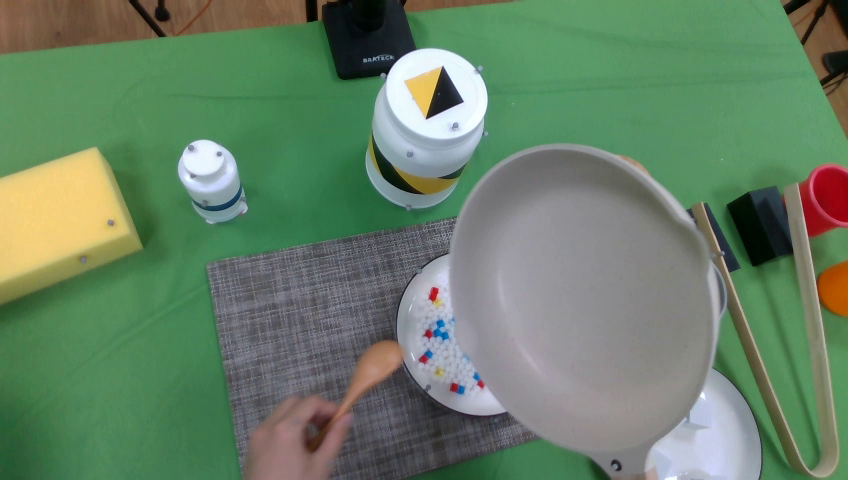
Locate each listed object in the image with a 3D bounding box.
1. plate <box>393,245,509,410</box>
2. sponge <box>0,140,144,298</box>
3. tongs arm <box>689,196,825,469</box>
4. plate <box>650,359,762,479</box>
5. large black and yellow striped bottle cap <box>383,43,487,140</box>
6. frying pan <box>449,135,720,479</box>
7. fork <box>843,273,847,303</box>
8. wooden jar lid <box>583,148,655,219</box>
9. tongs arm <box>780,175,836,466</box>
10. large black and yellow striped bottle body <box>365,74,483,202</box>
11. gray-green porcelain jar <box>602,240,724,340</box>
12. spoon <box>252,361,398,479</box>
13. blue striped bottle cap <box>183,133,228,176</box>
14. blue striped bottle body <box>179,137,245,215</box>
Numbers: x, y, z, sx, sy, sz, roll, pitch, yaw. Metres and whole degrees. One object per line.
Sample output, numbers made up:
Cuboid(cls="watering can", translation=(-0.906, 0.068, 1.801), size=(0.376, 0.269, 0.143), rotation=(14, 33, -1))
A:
Cuboid(cls="plate", translation=(0.063, 0.105, 0.755), size=(0.210, 0.038, 0.208), rotation=(3, 72, -10))
Cuboid(cls="sponge", translation=(-0.447, -0.017, 0.686), size=(0.207, 0.061, 0.117), rotation=(-25, 79, -18))
Cuboid(cls="tongs arm", translation=(0.437, 0.119, 0.799), size=(0.051, 0.026, 0.384), rotation=(-17, 87, -17))
Cuboid(cls="plate", translation=(0.323, 0.242, 0.768), size=(0.208, 0.039, 0.206), rotation=(3, 72, -10))
Cuboid(cls="large black and yellow striped bottle cap", translation=(0.013, -0.165, 0.666), size=(0.115, 0.019, 0.114), rotation=(3, 71, -9))
Cuboid(cls="frying pan", translation=(0.170, 0.143, 0.563), size=(0.103, 0.306, 0.485), rotation=(-3, 73, -38))
Cuboid(cls="fork", translation=(0.598, 0.009, 0.835), size=(0.028, 0.018, 0.209), rotation=(-24, 123, -9))
Cuboid(cls="wooden jar lid", translation=(0.277, -0.080, 0.870), size=(0.109, 0.021, 0.108), rotation=(3, 73, -10))
Cuboid(cls="tongs arm", translation=(0.518, 0.103, 0.821), size=(0.028, 0.027, 0.386), rotation=(-1, 83, -19))
Cuboid(cls="large black and yellow striped bottle body", translation=(-0.002, -0.138, 0.747), size=(0.131, 0.184, 0.130), rotation=(3, 71, -9))
Cuboid(cls="gray-green porcelain jar", translation=(0.295, 0.069, 0.769), size=(0.106, 0.127, 0.105), rotation=(3, 72, -9))
Cuboid(cls="spoon", translation=(-0.102, 0.187, 0.605), size=(0.194, 0.041, 0.022), rotation=(-34, 116, -15))
Cuboid(cls="blue striped bottle cap", translation=(-0.240, -0.094, 0.664), size=(0.045, 0.021, 0.044), rotation=(3, 70, -7))
Cuboid(cls="blue striped bottle body", translation=(-0.249, -0.079, 0.712), size=(0.063, 0.121, 0.062), rotation=(3, 72, -10))
